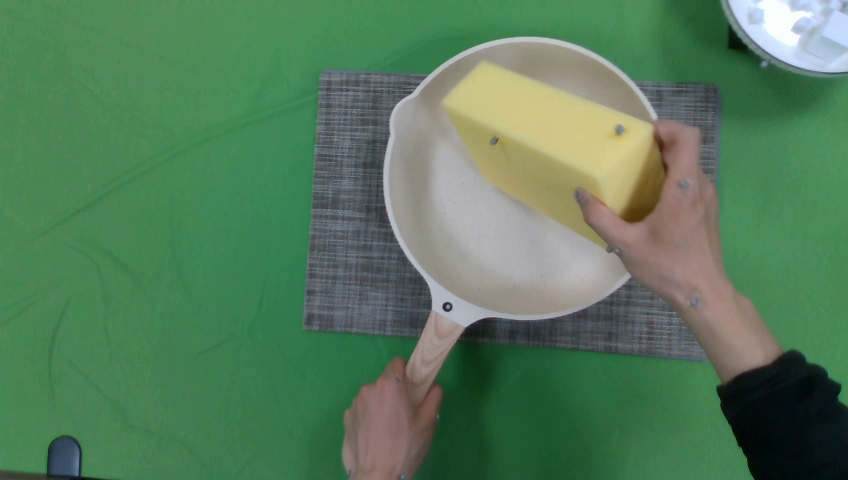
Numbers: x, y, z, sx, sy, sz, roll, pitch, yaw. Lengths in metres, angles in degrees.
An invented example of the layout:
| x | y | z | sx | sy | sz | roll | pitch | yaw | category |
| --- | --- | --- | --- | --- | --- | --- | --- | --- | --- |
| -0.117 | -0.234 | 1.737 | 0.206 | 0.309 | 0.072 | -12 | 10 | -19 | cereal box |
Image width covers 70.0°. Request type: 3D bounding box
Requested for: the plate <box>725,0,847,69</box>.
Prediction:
| x | y | z | sx | sy | sz | roll | pitch | yaw | category |
| --- | --- | --- | --- | --- | --- | --- | --- | --- | --- |
| 0.399 | -0.270 | 0.606 | 0.207 | 0.039 | 0.207 | 0 | 87 | 3 | plate |

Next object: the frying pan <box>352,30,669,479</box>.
| x | y | z | sx | sy | sz | roll | pitch | yaw | category |
| --- | --- | --- | --- | --- | --- | --- | --- | --- | --- |
| 0.052 | 0.020 | 0.630 | 0.306 | 0.103 | 0.487 | 29 | 82 | 6 | frying pan |

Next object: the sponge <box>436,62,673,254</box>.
| x | y | z | sx | sy | sz | roll | pitch | yaw | category |
| --- | --- | --- | --- | --- | --- | --- | --- | --- | --- |
| 0.114 | -0.081 | 0.555 | 0.061 | 0.119 | 0.204 | -47 | 43 | -7 | sponge |
